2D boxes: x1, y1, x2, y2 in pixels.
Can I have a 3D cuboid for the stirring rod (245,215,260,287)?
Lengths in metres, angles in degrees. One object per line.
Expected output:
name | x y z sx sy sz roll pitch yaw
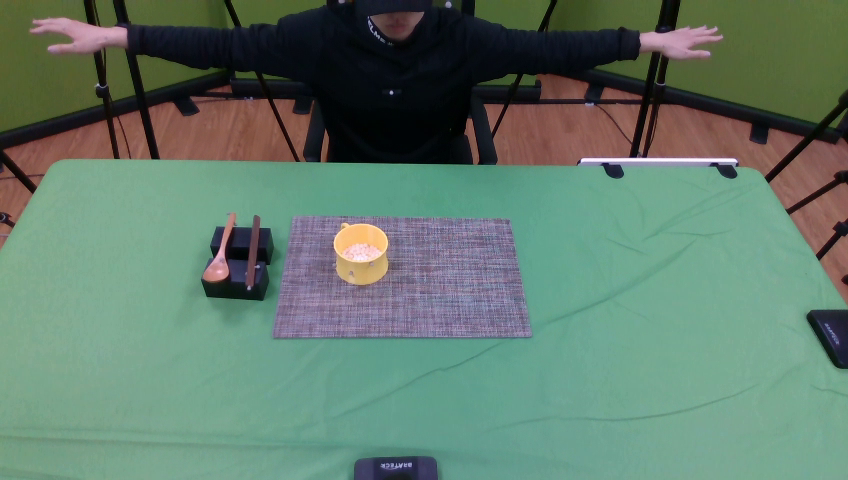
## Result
stirring rod | -0.310 0.016 1.096 0.014 0.006 0.175 27 36 -32

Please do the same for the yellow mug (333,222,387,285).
yellow mug | -0.127 0.016 1.139 0.100 0.064 0.130 -23 51 -24

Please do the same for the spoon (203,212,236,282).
spoon | -0.361 0.009 1.097 0.041 0.022 0.192 0 44 -2
